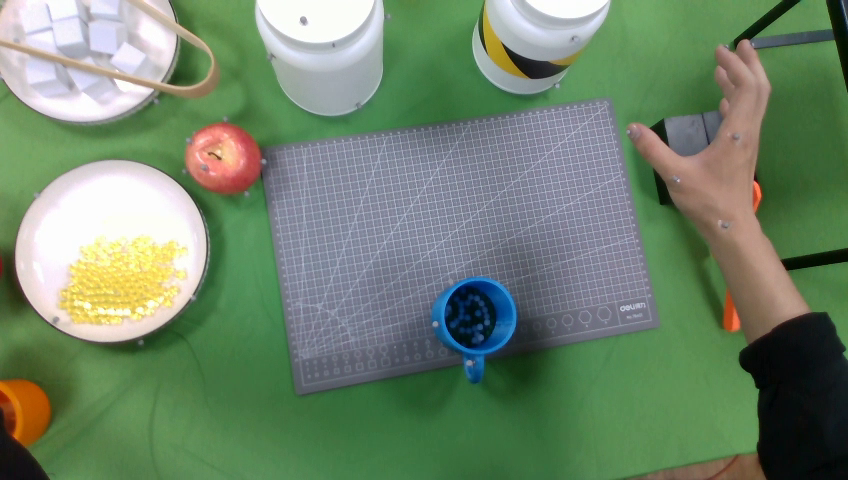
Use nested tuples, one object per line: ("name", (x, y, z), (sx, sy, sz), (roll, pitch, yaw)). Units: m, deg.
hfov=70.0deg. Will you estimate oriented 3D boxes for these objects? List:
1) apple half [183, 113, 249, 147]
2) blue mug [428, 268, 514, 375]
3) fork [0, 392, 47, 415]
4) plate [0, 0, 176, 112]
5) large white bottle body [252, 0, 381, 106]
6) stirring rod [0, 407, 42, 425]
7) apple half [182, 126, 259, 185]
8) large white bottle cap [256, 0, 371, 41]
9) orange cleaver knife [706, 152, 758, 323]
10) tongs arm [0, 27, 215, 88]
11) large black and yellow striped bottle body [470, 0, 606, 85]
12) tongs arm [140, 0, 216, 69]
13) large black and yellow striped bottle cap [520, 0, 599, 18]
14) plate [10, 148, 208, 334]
("apple half", (-0.241, -0.126, 0.693), (0.081, 0.081, 0.033), (-24, 91, -7))
("blue mug", (0.050, 0.093, 0.681), (0.082, 0.106, 0.116), (-1, 84, -6))
("fork", (-0.492, 0.165, 0.599), (0.209, 0.018, 0.028), (16, 79, -47))
("plate", (-0.394, -0.247, 0.709), (0.208, 0.039, 0.207), (1, 84, -6))
("large white bottle body", (-0.113, -0.237, 0.662), (0.131, 0.185, 0.130), (1, 83, -5))
("stirring rod", (-0.480, 0.184, 0.600), (0.177, 0.006, 0.014), (5, 67, -46))
("apple half", (-0.225, -0.090, 0.692), (0.081, 0.074, 0.053), (-24, 90, -11))
("large white bottle cap", (-0.106, -0.247, 0.578), (0.115, 0.018, 0.114), (1, 84, -5))
("orange cleaver knife", (0.366, 0.000, 0.734), (0.012, 0.076, 0.213), (-10, 116, -7))
("tongs arm", (-0.427, -0.237, 0.672), (0.385, 0.026, 0.050), (19, 79, -1))
("large black and yellow striped bottle body", (0.129, -0.269, 0.690), (0.131, 0.184, 0.130), (1, 83, -5))
("tongs arm", (-0.394, -0.312, 0.685), (0.387, 0.028, 0.028), (33, 75, 1))
("large black and yellow striped bottle cap", (0.136, -0.281, 0.607), (0.115, 0.019, 0.114), (1, 85, -7))
("plate", (-0.350, 0.001, 0.687), (0.209, 0.038, 0.208), (1, 84, -5))
